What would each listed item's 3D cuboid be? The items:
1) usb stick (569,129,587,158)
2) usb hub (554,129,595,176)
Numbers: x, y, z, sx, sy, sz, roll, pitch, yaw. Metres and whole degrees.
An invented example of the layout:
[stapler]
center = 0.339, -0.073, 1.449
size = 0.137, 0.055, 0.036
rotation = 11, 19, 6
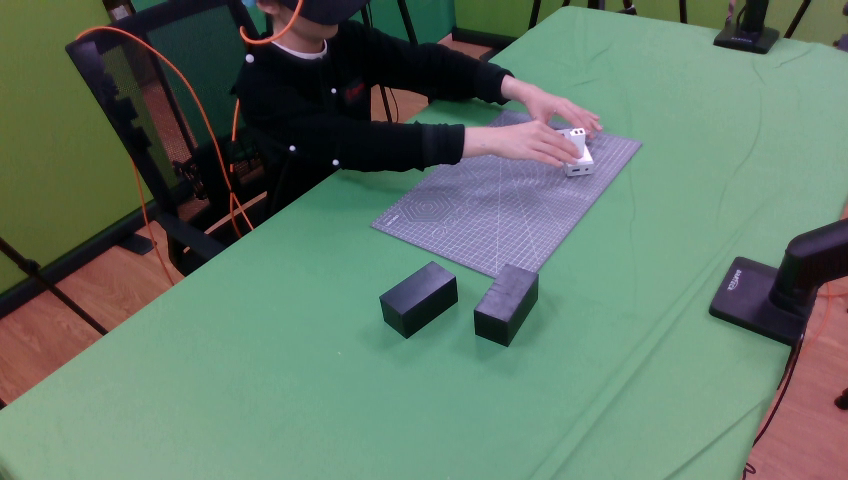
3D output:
[usb stick]
center = 0.273, -0.166, 1.074
size = 0.027, 0.059, 0.021
rotation = -6, 40, -1
[usb hub]
center = 0.278, -0.164, 1.119
size = 0.049, 0.025, 0.124
rotation = -5, 40, 1
